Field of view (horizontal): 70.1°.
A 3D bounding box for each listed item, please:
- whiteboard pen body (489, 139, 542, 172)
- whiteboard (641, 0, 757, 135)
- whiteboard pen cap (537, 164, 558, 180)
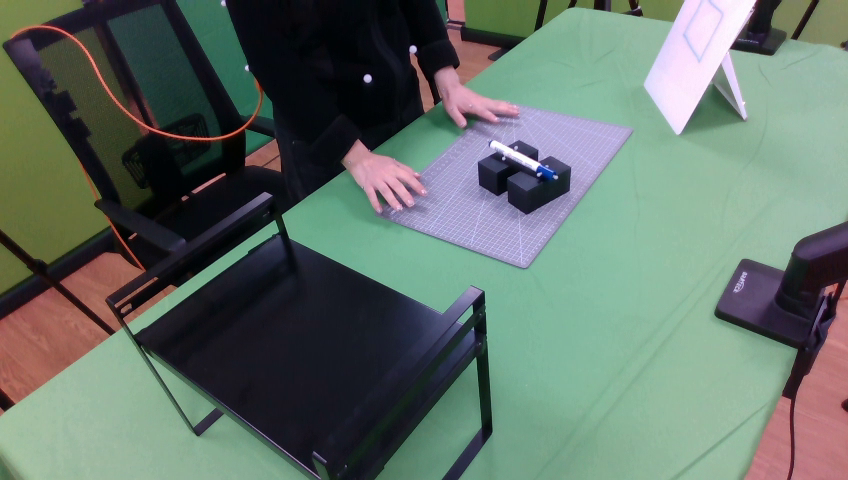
[{"bbox_3d":[0.165,-0.141,1.032,0.017,0.017,0.139,-33,50,-27],"label":"whiteboard pen body"},{"bbox_3d":[0.576,-0.367,1.147,0.144,0.305,0.216,10,39,-10],"label":"whiteboard"},{"bbox_3d":[0.203,-0.113,0.999,0.018,0.018,0.033,-33,49,-26],"label":"whiteboard pen cap"}]
